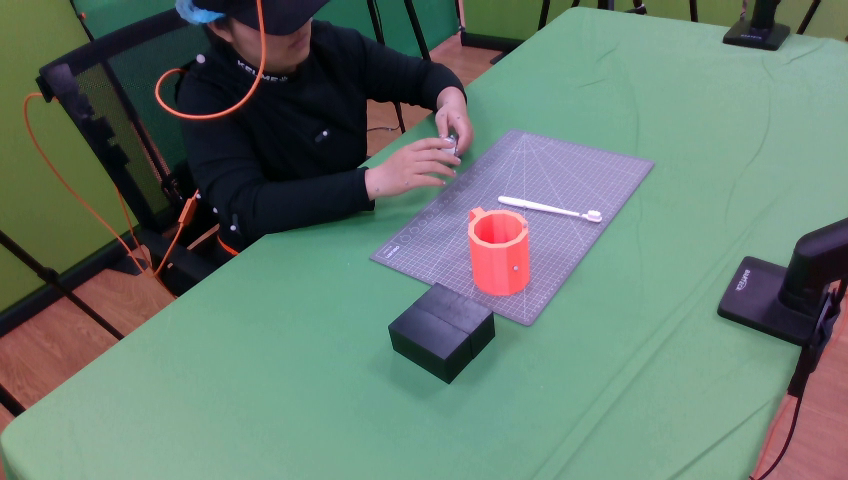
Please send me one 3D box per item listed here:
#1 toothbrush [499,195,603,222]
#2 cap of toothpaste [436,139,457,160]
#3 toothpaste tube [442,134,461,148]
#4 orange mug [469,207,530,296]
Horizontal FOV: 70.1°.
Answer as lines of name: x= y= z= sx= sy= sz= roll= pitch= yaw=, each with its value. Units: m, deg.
toothbrush: x=0.209 y=-0.055 z=1.011 sx=0.180 sy=0.017 sz=0.014 roll=14 pitch=61 yaw=27
cap of toothpaste: x=0.038 y=-0.156 z=1.042 sx=0.037 sy=0.037 sz=0.011 roll=-6 pitch=14 yaw=4
toothpaste tube: x=0.045 y=-0.177 z=1.118 sx=0.055 sy=0.034 sz=0.165 roll=-28 pitch=11 yaw=10
orange mug: x=0.104 y=0.008 z=0.894 sx=0.084 sy=0.101 sz=0.125 roll=-22 pitch=46 yaw=-14
